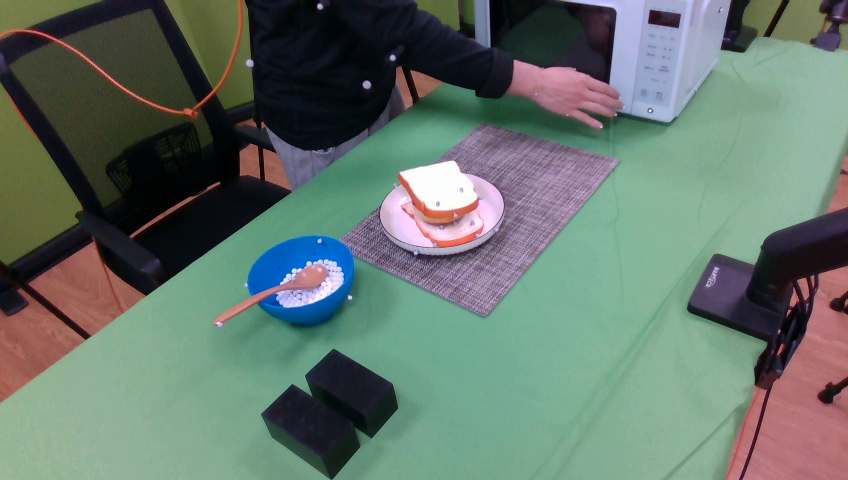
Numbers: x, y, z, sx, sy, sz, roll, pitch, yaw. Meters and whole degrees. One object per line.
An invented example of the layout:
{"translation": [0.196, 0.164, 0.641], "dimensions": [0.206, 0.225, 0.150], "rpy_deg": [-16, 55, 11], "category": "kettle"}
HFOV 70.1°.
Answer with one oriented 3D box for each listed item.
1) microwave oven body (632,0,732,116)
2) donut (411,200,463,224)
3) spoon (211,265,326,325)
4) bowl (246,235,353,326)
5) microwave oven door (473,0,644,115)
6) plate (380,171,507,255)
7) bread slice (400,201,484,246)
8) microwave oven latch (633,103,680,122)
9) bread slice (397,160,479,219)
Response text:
{"translation": [0.377, -0.463, 1.267], "dimensions": [0.438, 0.261, 0.327], "rpy_deg": [21, 48, 30], "category": "microwave oven body"}
{"translation": [0.028, -0.063, 0.978], "dimensions": [0.099, 0.048, 0.098], "rpy_deg": [-4, 38, 4], "category": "donut"}
{"translation": [-0.208, 0.072, 0.822], "dimensions": [0.041, 0.021, 0.195], "rpy_deg": [27, 29, 27], "category": "spoon"}
{"translation": [-0.170, 0.070, 0.868], "dimensions": [0.151, 0.077, 0.150], "rpy_deg": [-4, 41, 4], "category": "bowl"}
{"translation": [0.257, -0.396, 1.199], "dimensions": [0.353, 0.245, 0.039], "rpy_deg": [21, 48, 29], "category": "microwave oven door"}
{"translation": [0.033, -0.042, 0.995], "dimensions": [0.207, 0.039, 0.206], "rpy_deg": [-4, 40, 4], "category": "plate"}
{"translation": [0.037, -0.038, 0.990], "dimensions": [0.107, 0.018, 0.133], "rpy_deg": [-23, 42, -17], "category": "bread slice"}
{"translation": [0.443, -0.249, 1.157], "dimensions": [0.078, 0.029, 0.030], "rpy_deg": [21, 48, 30], "category": "microwave oven latch"}
{"translation": [0.028, -0.081, 0.952], "dimensions": [0.105, 0.019, 0.130], "rpy_deg": [-14, 44, -18], "category": "bread slice"}
